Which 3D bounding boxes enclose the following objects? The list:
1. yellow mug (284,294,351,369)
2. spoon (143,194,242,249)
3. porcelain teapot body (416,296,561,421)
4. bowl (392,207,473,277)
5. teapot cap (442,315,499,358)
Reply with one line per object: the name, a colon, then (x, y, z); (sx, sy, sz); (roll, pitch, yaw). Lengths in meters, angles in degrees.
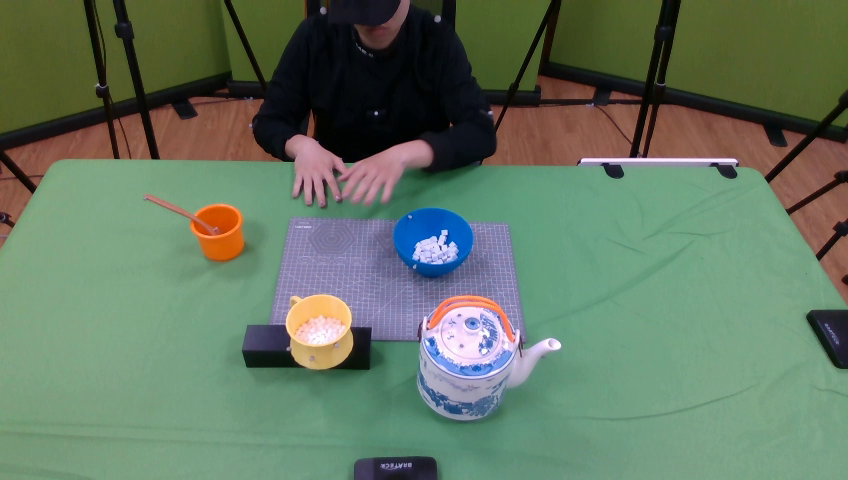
yellow mug: (-0.175, 0.134, 0.955); (0.100, 0.064, 0.130); (-33, 56, -31)
spoon: (-0.421, -0.036, 1.112); (0.021, 0.195, 0.041); (-35, 38, 25)
porcelain teapot body: (0.093, 0.164, 0.907); (0.205, 0.226, 0.144); (7, 45, 1)
bowl: (0.014, 0.016, 1.140); (0.151, 0.077, 0.150); (2, 46, -2)
teapot cap: (0.068, 0.133, 0.880); (0.085, 0.044, 0.084); (4, 45, -4)
